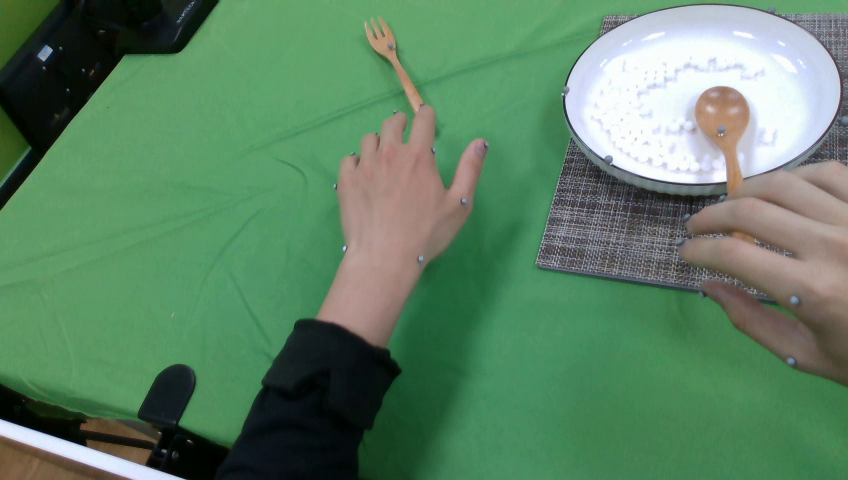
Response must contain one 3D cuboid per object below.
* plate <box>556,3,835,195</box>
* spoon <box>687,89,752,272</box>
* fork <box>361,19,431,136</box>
[{"bbox_3d":[0.216,-0.116,0.504,0.207,0.039,0.205,-8,54,12],"label":"plate"},{"bbox_3d":[0.218,-0.051,0.439,0.041,0.022,0.192,4,44,15],"label":"spoon"},{"bbox_3d":[-0.030,-0.176,0.641,0.028,0.019,0.205,-20,50,-5],"label":"fork"}]
